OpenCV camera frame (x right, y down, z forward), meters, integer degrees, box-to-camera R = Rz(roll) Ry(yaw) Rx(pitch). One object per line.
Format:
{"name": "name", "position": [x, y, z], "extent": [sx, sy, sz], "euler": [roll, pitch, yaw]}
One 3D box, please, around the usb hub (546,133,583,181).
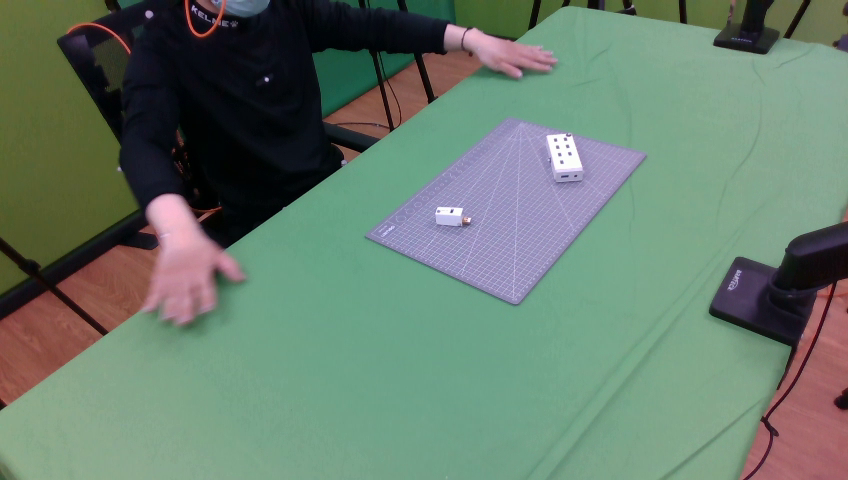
{"name": "usb hub", "position": [0.256, -0.152, 1.103], "extent": [0.049, 0.025, 0.124], "euler": [-3, 41, 4]}

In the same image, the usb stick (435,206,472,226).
{"name": "usb stick", "position": [0.050, -0.039, 0.999], "extent": [0.059, 0.027, 0.021], "euler": [7, 41, 12]}
